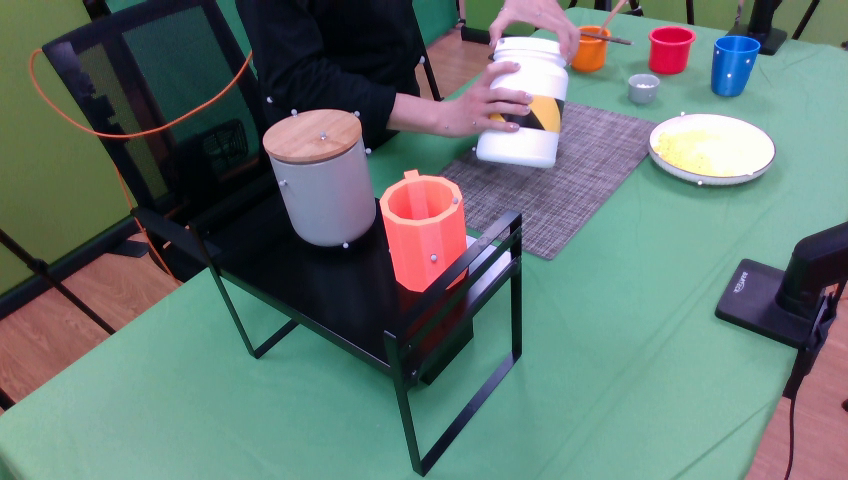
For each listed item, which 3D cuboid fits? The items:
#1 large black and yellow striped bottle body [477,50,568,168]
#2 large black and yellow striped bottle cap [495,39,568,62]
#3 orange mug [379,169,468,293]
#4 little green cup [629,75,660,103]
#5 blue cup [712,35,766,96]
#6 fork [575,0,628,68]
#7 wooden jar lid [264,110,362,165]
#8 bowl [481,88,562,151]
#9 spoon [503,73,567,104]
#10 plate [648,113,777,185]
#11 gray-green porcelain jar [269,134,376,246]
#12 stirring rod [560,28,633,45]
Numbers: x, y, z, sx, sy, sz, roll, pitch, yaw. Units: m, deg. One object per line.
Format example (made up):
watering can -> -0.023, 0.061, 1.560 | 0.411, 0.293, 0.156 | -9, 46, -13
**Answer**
large black and yellow striped bottle body -> 0.159, -0.214, 0.971 | 0.131, 0.184, 0.130 | 7, 8, 0
large black and yellow striped bottle cap -> 0.171, -0.298, 0.959 | 0.115, 0.019, 0.115 | 6, 8, 0
orange mug -> -0.002, -0.019, 0.665 | 0.083, 0.101, 0.125 | -12, 45, -4
little green cup -> 0.458, -0.314, 1.260 | 0.061, 0.039, 0.061 | -4, 40, 4
blue cup -> 0.627, -0.350, 1.227 | 0.092, 0.100, 0.092 | -4, 39, 4
fork -> 0.413, -0.481, 1.377 | 0.207, 0.019, 0.028 | -57, 43, 12
wooden jar lid -> -0.122, -0.112, 0.673 | 0.108, 0.021, 0.108 | -4, 37, 4
bowl -> 0.187, -0.223, 1.161 | 0.151, 0.077, 0.150 | -4, 40, 4
spoon -> 0.249, -0.336, 1.332 | 0.194, 0.022, 0.041 | -32, 33, -25
plate -> 0.506, -0.158, 1.073 | 0.209, 0.038, 0.208 | -5, 40, 4
gray-green porcelain jar -> -0.115, -0.064, 0.715 | 0.106, 0.127, 0.105 | -4, 40, 4
stirring rod -> 0.382, -0.453, 1.345 | 0.174, 0.006, 0.014 | 26, 52, 34
